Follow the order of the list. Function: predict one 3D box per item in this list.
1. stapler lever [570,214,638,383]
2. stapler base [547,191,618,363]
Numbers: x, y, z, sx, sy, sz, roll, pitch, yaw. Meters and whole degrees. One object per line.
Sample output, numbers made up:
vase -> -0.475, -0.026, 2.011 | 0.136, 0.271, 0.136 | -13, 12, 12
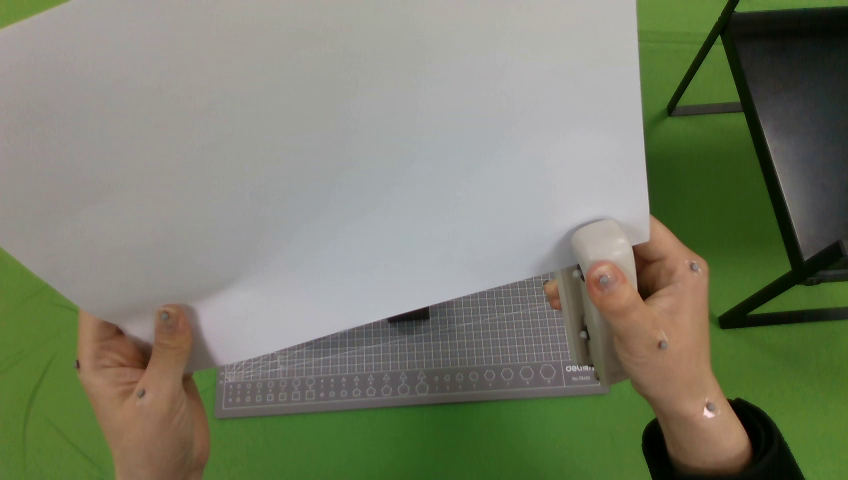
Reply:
stapler lever -> 0.107, 0.039, 0.351 | 0.027, 0.119, 0.040 | -19, 26, 0
stapler base -> 0.103, 0.032, 0.362 | 0.041, 0.132, 0.024 | -19, 38, 0
